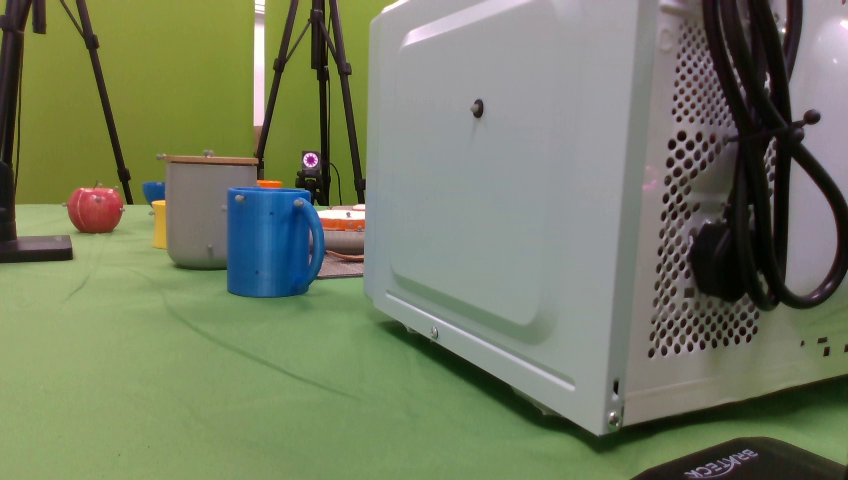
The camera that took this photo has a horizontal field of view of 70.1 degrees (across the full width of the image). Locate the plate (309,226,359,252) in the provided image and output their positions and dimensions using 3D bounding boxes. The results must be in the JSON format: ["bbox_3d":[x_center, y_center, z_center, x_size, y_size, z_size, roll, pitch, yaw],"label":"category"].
[{"bbox_3d":[-0.130,-0.011,0.945,0.208,0.039,0.207,2,7,0],"label":"plate"}]

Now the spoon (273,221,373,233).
[{"bbox_3d":[-0.180,-0.027,1.109,0.195,0.021,0.041,-4,-13,-33],"label":"spoon"}]

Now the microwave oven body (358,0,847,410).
[{"bbox_3d":[0.210,-0.051,0.471,0.444,0.260,0.324,-1,7,-28],"label":"microwave oven body"}]

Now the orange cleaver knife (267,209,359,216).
[{"bbox_3d":[-0.259,-0.064,1.423,0.212,0.012,0.077,-4,3,-30],"label":"orange cleaver knife"}]

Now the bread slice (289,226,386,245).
[{"bbox_3d":[-0.125,-0.008,0.938,0.131,0.019,0.105,5,7,31],"label":"bread slice"}]

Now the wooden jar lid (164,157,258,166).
[{"bbox_3d":[-0.261,-0.093,0.746,0.108,0.020,0.108,0,9,0],"label":"wooden jar lid"}]

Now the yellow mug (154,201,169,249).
[{"bbox_3d":[-0.338,-0.022,0.899,0.130,0.064,0.100,8,9,34],"label":"yellow mug"}]

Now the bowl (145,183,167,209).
[{"bbox_3d":[-0.459,-0.068,1.175,0.151,0.077,0.151,2,7,0],"label":"bowl"}]

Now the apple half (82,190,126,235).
[{"bbox_3d":[-0.517,-0.046,0.994,0.032,0.081,0.081,0,6,26],"label":"apple half"}]

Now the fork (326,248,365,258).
[{"bbox_3d":[-0.032,0.014,0.835,0.208,0.018,0.028,-3,1,-24],"label":"fork"}]

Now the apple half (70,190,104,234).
[{"bbox_3d":[-0.552,-0.047,1.009,0.053,0.074,0.081,0,9,26],"label":"apple half"}]

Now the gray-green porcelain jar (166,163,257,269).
[{"bbox_3d":[-0.263,-0.031,0.754,0.106,0.126,0.106,2,7,0],"label":"gray-green porcelain jar"}]

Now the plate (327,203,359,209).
[{"bbox_3d":[-0.102,-0.053,1.299,0.209,0.038,0.209,2,8,0],"label":"plate"}]

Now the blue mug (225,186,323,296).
[{"bbox_3d":[-0.148,0.000,0.618,0.116,0.106,0.083,7,9,33],"label":"blue mug"}]

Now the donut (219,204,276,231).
[{"bbox_3d":[-0.316,-0.039,1.083,0.099,0.048,0.099,2,7,0],"label":"donut"}]

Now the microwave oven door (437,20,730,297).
[{"bbox_3d":[0.181,-0.076,0.618,0.358,0.243,0.039,-2,9,-28],"label":"microwave oven door"}]

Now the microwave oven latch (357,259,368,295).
[{"bbox_3d":[-0.019,0.031,0.529,0.079,0.029,0.030,-1,7,-27],"label":"microwave oven latch"}]

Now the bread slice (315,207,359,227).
[{"bbox_3d":[-0.127,-0.035,0.933,0.134,0.018,0.107,4,11,27],"label":"bread slice"}]
